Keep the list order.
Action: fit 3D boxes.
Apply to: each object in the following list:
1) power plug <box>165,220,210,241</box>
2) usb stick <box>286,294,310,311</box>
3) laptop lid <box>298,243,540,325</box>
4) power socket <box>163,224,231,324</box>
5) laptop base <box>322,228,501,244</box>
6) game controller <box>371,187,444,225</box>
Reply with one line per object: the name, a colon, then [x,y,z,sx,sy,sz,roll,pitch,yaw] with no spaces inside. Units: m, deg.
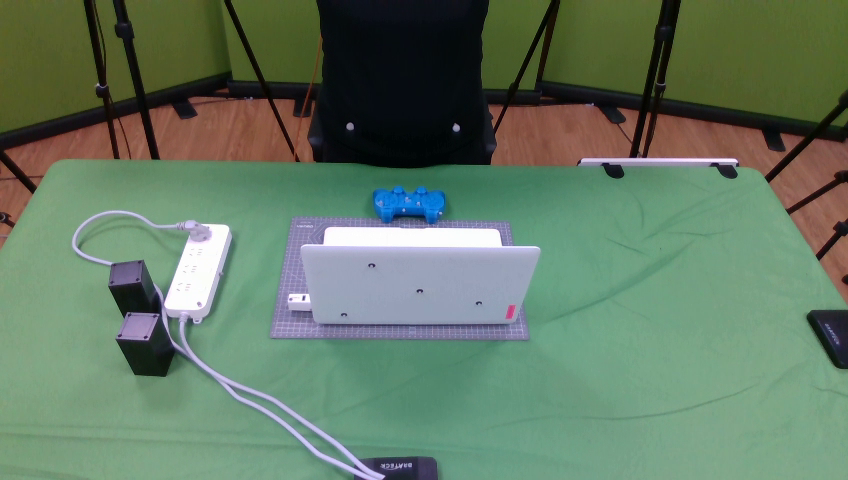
power plug: [-0.440,-0.015,1.143,0.072,0.053,0.035,7,46,8]
usb stick: [-0.210,0.109,1.059,0.059,0.027,0.021,4,44,-6]
laptop lid: [-0.010,0.076,0.958,0.357,0.243,0.013,1,53,-5]
power socket: [-0.411,0.052,1.107,0.072,0.033,0.225,3,46,-3]
laptop base: [-0.020,0.064,1.136,0.355,0.023,0.234,0,43,-4]
game controller: [-0.033,-0.079,1.253,0.155,0.052,0.096,1,48,-3]
